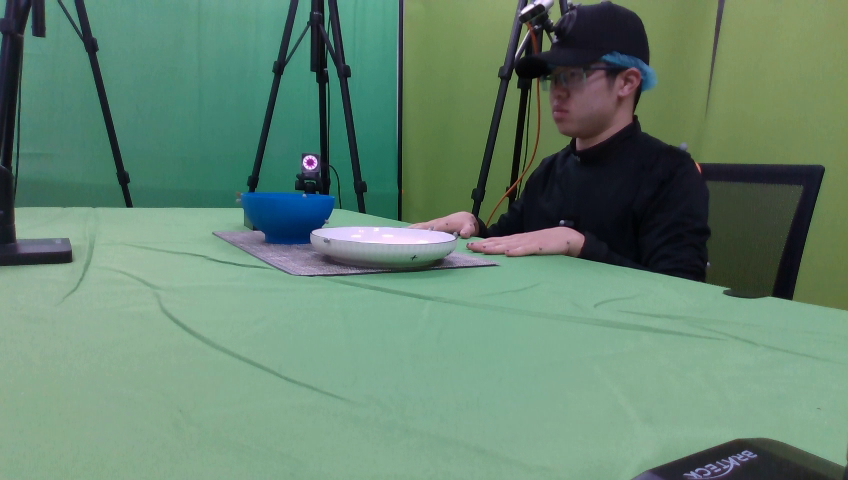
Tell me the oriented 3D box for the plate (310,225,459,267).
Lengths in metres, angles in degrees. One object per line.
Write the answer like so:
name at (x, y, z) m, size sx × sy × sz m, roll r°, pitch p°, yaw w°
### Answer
plate at (-0.055, 0.008, 0.851) m, size 0.208 × 0.039 × 0.207 m, roll 2°, pitch 7°, yaw 0°

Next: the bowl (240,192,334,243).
bowl at (-0.223, -0.037, 0.992) m, size 0.151 × 0.077 × 0.151 m, roll 2°, pitch 7°, yaw 0°

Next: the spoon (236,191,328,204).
spoon at (-0.282, -0.085, 1.222) m, size 0.195 × 0.021 × 0.041 m, roll -1°, pitch 8°, yaw -34°
